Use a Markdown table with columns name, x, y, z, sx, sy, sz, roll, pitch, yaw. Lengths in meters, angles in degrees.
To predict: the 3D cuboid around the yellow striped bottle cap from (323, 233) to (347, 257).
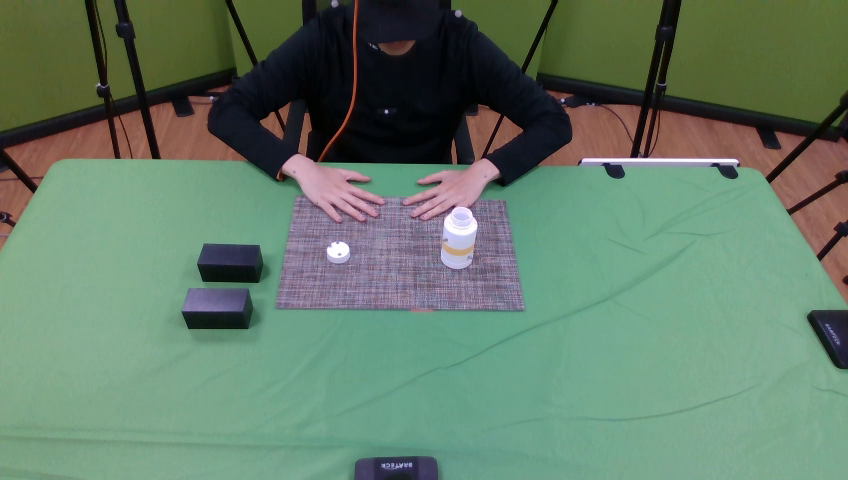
| name | x | y | z | sx | sy | sz | roll | pitch | yaw |
| --- | --- | --- | --- | --- | --- | --- | --- | --- | --- |
| yellow striped bottle cap | -0.168 | 0.010 | 1.143 | 0.044 | 0.019 | 0.044 | 3 | 55 | -5 |

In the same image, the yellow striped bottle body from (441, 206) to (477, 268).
| name | x | y | z | sx | sy | sz | roll | pitch | yaw |
| --- | --- | --- | --- | --- | --- | --- | --- | --- | --- |
| yellow striped bottle body | 0.066 | -0.009 | 1.135 | 0.063 | 0.121 | 0.062 | 2 | 46 | -2 |
